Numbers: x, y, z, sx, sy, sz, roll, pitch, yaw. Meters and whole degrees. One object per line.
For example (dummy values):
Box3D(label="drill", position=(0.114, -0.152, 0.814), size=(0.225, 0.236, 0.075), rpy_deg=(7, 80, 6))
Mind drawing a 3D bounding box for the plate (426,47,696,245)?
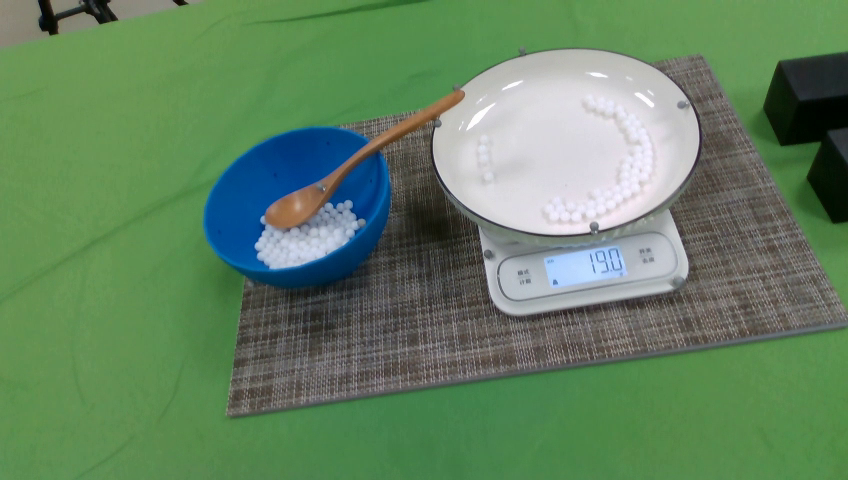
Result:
Box3D(label="plate", position=(0.106, -0.076, 0.489), size=(0.209, 0.038, 0.207), rpy_deg=(-5, 53, 8))

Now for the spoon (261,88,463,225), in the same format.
Box3D(label="spoon", position=(-0.053, -0.066, 0.486), size=(0.194, 0.022, 0.041), rpy_deg=(-33, 43, 16))

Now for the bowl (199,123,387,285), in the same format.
Box3D(label="bowl", position=(-0.097, -0.017, 0.501), size=(0.151, 0.077, 0.150), rpy_deg=(-6, 53, 8))

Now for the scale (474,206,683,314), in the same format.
Box3D(label="scale", position=(0.113, -0.039, 0.501), size=(0.148, 0.032, 0.199), rpy_deg=(-10, 53, 5))
